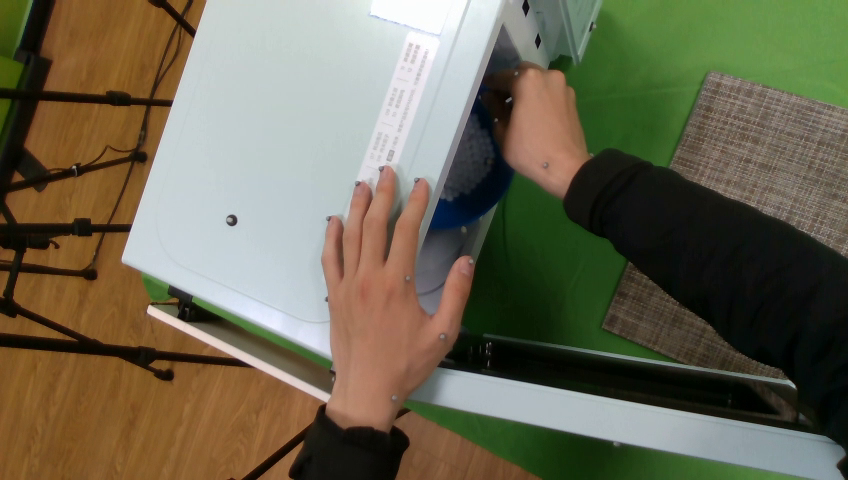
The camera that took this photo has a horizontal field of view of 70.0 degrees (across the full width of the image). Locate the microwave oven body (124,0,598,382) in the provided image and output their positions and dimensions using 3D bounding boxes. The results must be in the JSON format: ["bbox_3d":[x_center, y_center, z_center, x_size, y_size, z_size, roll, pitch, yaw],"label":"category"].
[{"bbox_3d":[-0.052,-0.129,0.629,0.324,0.261,0.442,21,94,17],"label":"microwave oven body"}]

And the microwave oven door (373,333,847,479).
[{"bbox_3d":[0.162,0.136,0.541,0.354,0.245,0.039,6,88,18],"label":"microwave oven door"}]

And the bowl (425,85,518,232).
[{"bbox_3d":[0.025,-0.083,0.620,0.151,0.077,0.151,0,92,16],"label":"bowl"}]

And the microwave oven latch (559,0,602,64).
[{"bbox_3d":[0.171,-0.238,0.664,0.030,0.029,0.079,22,95,17],"label":"microwave oven latch"}]
